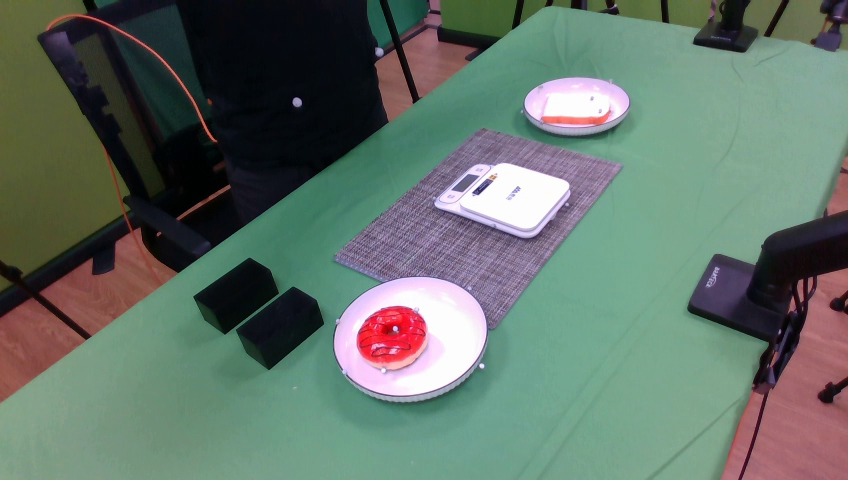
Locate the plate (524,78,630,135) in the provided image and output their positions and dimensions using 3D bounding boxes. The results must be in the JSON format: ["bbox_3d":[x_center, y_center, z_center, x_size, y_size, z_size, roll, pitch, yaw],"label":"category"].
[{"bbox_3d":[0.307,-0.265,1.223,0.209,0.038,0.208,-4,40,4],"label":"plate"}]

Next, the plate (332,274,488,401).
[{"bbox_3d":[-0.017,0.130,0.808,0.207,0.039,0.206,-4,41,4],"label":"plate"}]

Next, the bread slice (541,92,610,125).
[{"bbox_3d":[0.310,-0.268,1.227,0.131,0.019,0.105,7,43,15],"label":"bread slice"}]

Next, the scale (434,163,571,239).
[{"bbox_3d":[0.132,-0.075,1.025,0.199,0.032,0.149,22,48,30],"label":"scale"}]

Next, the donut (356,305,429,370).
[{"bbox_3d":[-0.041,0.127,0.798,0.099,0.048,0.098,-7,40,6],"label":"donut"}]
